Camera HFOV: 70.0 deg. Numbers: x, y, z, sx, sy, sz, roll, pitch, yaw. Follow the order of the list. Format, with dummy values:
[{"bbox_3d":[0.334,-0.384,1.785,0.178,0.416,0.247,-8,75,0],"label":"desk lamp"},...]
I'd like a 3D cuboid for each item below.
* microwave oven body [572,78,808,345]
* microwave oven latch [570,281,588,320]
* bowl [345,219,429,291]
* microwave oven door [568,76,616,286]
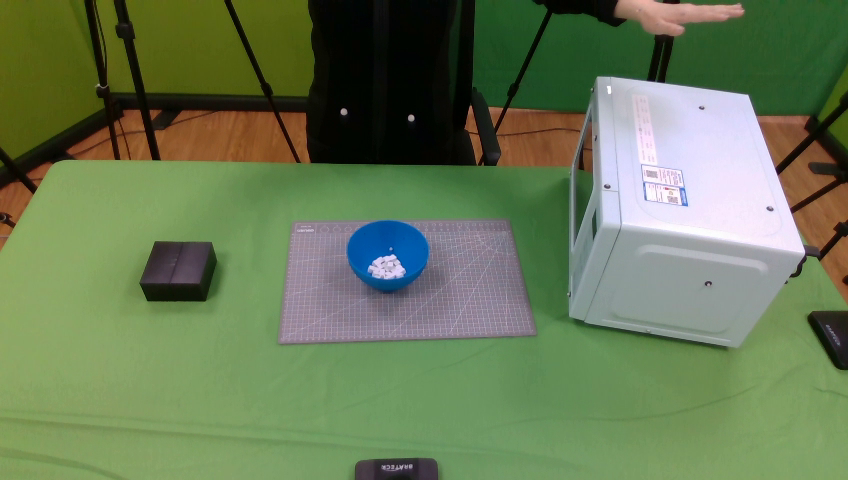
[{"bbox_3d":[0.455,-0.063,1.125,0.326,0.261,0.439,8,45,5],"label":"microwave oven body"},{"bbox_3d":[0.275,0.105,1.082,0.030,0.029,0.079,9,45,6],"label":"microwave oven latch"},{"bbox_3d":[-0.068,0.041,1.111,0.151,0.077,0.150,2,46,-2],"label":"bowl"},{"bbox_3d":[0.319,-0.119,1.161,0.039,0.245,0.354,9,46,5],"label":"microwave oven door"}]
